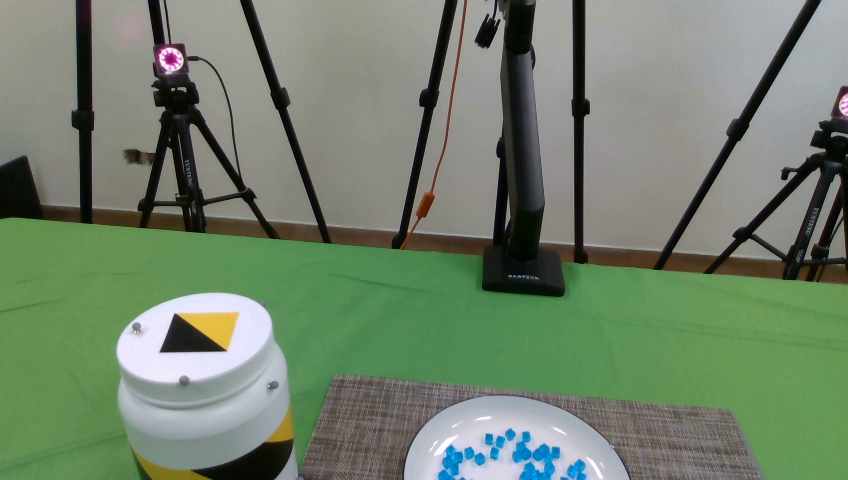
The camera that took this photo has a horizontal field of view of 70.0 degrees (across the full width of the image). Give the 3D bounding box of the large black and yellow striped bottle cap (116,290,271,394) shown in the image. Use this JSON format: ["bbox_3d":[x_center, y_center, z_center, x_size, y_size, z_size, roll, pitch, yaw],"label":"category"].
[{"bbox_3d":[-0.180,0.076,0.479,0.115,0.019,0.114,4,29,-2],"label":"large black and yellow striped bottle cap"}]

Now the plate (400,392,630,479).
[{"bbox_3d":[0.081,0.224,0.552,0.208,0.039,0.206,2,29,-1],"label":"plate"}]

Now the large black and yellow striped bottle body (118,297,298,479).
[{"bbox_3d":[-0.181,0.150,0.520,0.131,0.185,0.129,2,30,-1],"label":"large black and yellow striped bottle body"}]
